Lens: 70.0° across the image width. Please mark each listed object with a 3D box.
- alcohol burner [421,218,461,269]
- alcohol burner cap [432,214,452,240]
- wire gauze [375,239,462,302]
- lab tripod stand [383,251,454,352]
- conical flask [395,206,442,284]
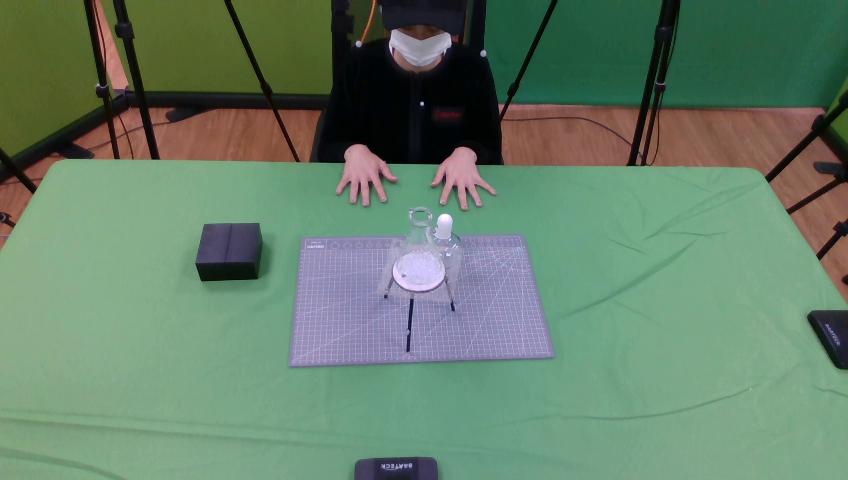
[{"bbox_3d":[0.033,-0.001,1.135,0.078,0.119,0.077,3,48,-3],"label":"alcohol burner"},{"bbox_3d":[0.035,-0.027,1.110,0.034,0.048,0.033,7,42,-6],"label":"alcohol burner cap"},{"bbox_3d":[-0.006,0.049,0.978,0.121,0.011,0.124,10,44,5],"label":"wire gauze"},{"bbox_3d":[-0.015,0.094,1.025,0.148,0.132,0.147,1,46,-1],"label":"lab tripod stand"},{"bbox_3d":[-0.007,0.005,0.937,0.075,0.122,0.075,2,45,-1],"label":"conical flask"}]
